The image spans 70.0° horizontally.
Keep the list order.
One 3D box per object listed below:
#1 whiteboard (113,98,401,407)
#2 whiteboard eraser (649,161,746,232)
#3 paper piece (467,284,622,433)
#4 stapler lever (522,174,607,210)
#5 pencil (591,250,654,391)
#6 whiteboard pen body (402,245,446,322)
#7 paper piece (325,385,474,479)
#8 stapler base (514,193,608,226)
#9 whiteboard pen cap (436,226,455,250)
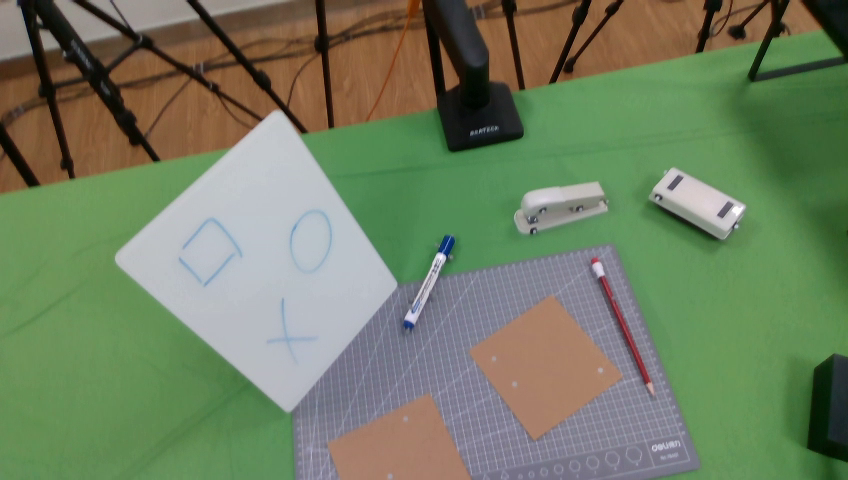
[{"bbox_3d":[-0.200,0.011,0.719,0.142,0.309,0.217,23,63,41],"label":"whiteboard"},{"bbox_3d":[0.367,-0.057,0.817,0.112,0.042,0.055,36,71,23],"label":"whiteboard eraser"},{"bbox_3d":[0.145,0.141,0.741,0.136,0.009,0.137,-32,64,-8],"label":"paper piece"},{"bbox_3d":[0.191,-0.068,0.825,0.118,0.040,0.026,-16,62,-4],"label":"stapler lever"},{"bbox_3d":[0.247,0.095,0.755,0.012,0.012,0.192,-14,61,-2],"label":"pencil"},{"bbox_3d":[0.005,0.046,0.807,0.017,0.017,0.140,19,63,16],"label":"whiteboard pen body"},{"bbox_3d":[-0.028,0.253,0.694,0.135,0.004,0.134,-24,61,-8],"label":"paper piece"},{"bbox_3d":[0.192,-0.055,0.846,0.131,0.024,0.041,-15,62,-5],"label":"stapler base"},{"bbox_3d":[0.030,-0.001,0.831,0.018,0.018,0.033,17,63,15],"label":"whiteboard pen cap"}]
